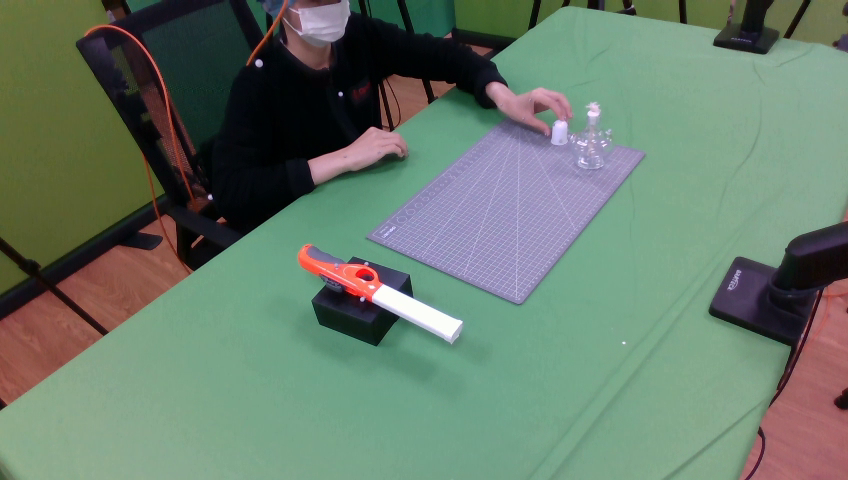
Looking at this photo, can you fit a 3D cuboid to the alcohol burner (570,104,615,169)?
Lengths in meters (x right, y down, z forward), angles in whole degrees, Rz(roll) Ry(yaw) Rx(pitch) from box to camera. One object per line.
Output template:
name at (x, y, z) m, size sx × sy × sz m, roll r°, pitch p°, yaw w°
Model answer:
alcohol burner at (0.299, -0.186, 1.071) m, size 0.078 × 0.119 × 0.077 m, roll -6°, pitch 41°, yaw 6°

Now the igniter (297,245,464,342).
igniter at (-0.070, 0.068, 0.828) m, size 0.274 × 0.025 × 0.057 m, roll 23°, pitch 49°, yaw 25°

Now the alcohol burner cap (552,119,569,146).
alcohol burner cap at (0.261, -0.207, 1.156) m, size 0.034 × 0.048 × 0.033 m, roll -5°, pitch 41°, yaw 5°
